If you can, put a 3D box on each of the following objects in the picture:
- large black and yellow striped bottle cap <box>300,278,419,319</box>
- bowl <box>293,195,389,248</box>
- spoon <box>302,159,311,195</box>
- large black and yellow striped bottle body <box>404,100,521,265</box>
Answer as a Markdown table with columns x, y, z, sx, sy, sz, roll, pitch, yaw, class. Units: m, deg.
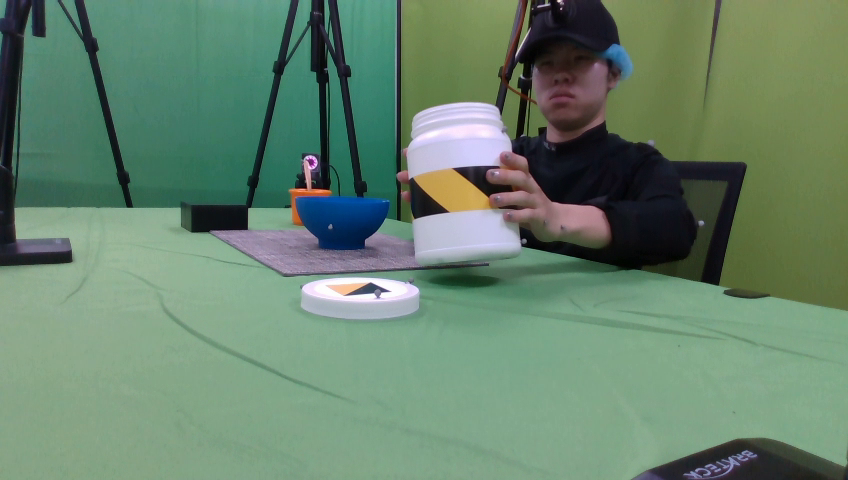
| x | y | z | sx | sy | sz | roll | pitch | yaw | class |
| --- | --- | --- | --- | --- | --- | --- | --- | --- | --- |
| -0.062 | 0.055 | 0.588 | 0.115 | 0.019 | 0.115 | 1 | 6 | 0 | large black and yellow striped bottle cap |
| -0.132 | -0.029 | 0.962 | 0.151 | 0.077 | 0.151 | 2 | 7 | 0 | bowl |
| -0.257 | -0.113 | 1.341 | 0.042 | 0.193 | 0.021 | 3 | -38 | -18 | spoon |
| 0.045 | -0.065 | 0.741 | 0.131 | 0.183 | 0.131 | -6 | -4 | 0 | large black and yellow striped bottle body |
